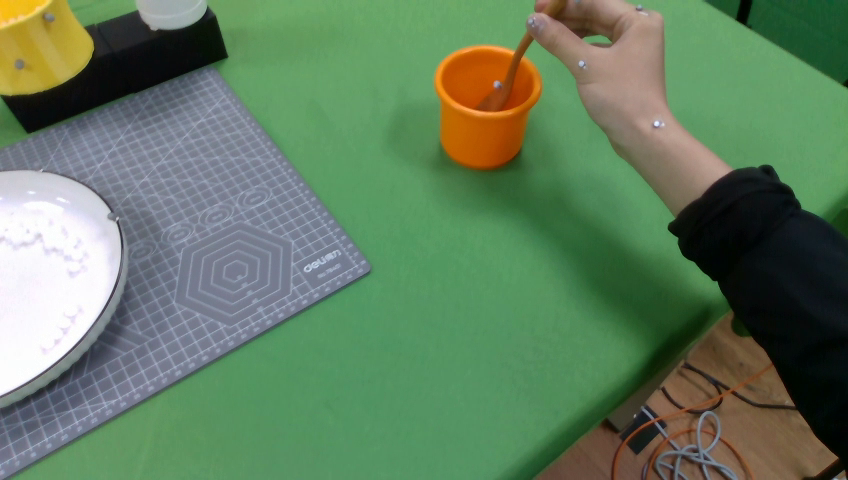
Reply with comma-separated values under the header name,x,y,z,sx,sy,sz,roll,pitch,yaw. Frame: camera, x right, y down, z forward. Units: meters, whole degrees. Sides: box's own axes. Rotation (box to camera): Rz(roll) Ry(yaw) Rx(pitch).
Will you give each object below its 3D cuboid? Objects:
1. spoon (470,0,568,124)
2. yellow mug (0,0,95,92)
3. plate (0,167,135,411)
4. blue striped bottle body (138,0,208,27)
name,x,y,z,sx,sy,sz,roll,pitch,yaw
spoon,0.082,-0.154,0.488,0.022,0.194,0.041,25,60,-6
yellow mug,-0.363,-0.189,0.520,0.130,0.064,0.099,13,56,9
plate,-0.316,0.036,0.442,0.208,0.039,0.205,1,56,-1
blue striped bottle body,-0.239,-0.259,0.537,0.063,0.122,0.062,1,56,0
